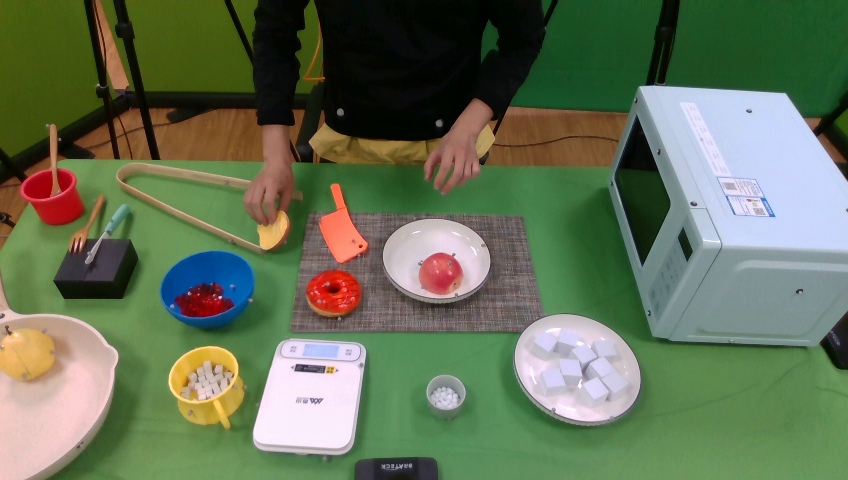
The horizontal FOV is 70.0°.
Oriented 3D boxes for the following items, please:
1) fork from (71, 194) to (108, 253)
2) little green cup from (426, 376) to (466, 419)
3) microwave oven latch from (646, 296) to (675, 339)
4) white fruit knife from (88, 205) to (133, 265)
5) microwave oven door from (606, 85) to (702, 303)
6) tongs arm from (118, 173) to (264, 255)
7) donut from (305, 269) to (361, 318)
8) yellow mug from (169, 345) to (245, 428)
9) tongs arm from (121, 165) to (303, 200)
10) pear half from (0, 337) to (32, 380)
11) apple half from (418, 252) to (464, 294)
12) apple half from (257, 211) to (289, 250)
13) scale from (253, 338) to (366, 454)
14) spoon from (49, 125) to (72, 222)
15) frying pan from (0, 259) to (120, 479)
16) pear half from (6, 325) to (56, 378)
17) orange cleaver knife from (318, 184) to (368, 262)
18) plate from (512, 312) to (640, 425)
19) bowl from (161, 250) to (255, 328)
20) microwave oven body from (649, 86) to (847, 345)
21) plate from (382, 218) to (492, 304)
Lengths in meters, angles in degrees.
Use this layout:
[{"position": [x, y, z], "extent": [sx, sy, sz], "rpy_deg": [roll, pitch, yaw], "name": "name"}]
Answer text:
[{"position": [-0.634, -0.036, 1.158], "extent": [0.028, 0.019, 0.206], "rpy_deg": [-8, 32, -8], "name": "fork"}, {"position": [0.033, 0.248, 0.950], "extent": [0.061, 0.039, 0.061], "rpy_deg": [2, 46, -2], "name": "little green cup"}, {"position": [0.412, 0.134, 1.061], "extent": [0.030, 0.029, 0.078], "rpy_deg": [4, 45, 1], "name": "microwave oven latch"}, {"position": [-0.584, -0.013, 1.129], "extent": [0.016, 0.027, 0.206], "rpy_deg": [-1, 32, -4], "name": "white fruit knife"}, {"position": [0.422, -0.094, 1.140], "extent": [0.039, 0.245, 0.353], "rpy_deg": [2, 46, -1], "name": "microwave oven door"}, {"position": [-0.474, -0.053, 1.212], "extent": [0.386, 0.028, 0.028], "rpy_deg": [23, 57, 18], "name": "tongs arm"}, {"position": [-0.160, 0.094, 1.075], "extent": [0.099, 0.048, 0.098], "rpy_deg": [3, 45, -3], "name": "donut"}, {"position": [-0.322, 0.230, 0.922], "extent": [0.100, 0.064, 0.130], "rpy_deg": [-24, 53, -25], "name": "yellow mug"}, {"position": [-0.444, -0.113, 1.268], "extent": [0.384, 0.026, 0.050], "rpy_deg": [11, 51, 8], "name": "tongs arm"}, {"position": [-0.631, 0.184, 0.921], "extent": [0.070, 0.088, 0.031], "rpy_deg": [29, 49, 19], "name": "pear half"}, {"position": [0.033, 0.055, 1.109], "extent": [0.081, 0.053, 0.074], "rpy_deg": [-29, 57, -27], "name": "apple half"}, {"position": [-0.282, -0.016, 1.160], "extent": [0.081, 0.033, 0.081], "rpy_deg": [-13, 66, 30], "name": "apple half"}, {"position": [-0.175, 0.236, 0.951], "extent": [0.149, 0.032, 0.199], "rpy_deg": [4, 45, -1], "name": "scale"}, {"position": [-0.718, -0.131, 1.189], "extent": [0.041, 0.021, 0.193], "rpy_deg": [-4, 90, -6], "name": "spoon"}, {"position": [-0.647, 0.164, 0.936], "extent": [0.307, 0.103, 0.485], "rpy_deg": [-19, 58, -22], "name": "frying pan"}, {"position": [-0.608, 0.158, 0.935], "extent": [0.076, 0.110, 0.056], "rpy_deg": [31, 51, 20], "name": "pear half"}, {"position": [-0.173, -0.037, 1.218], "extent": [0.077, 0.012, 0.210], "rpy_deg": [-16, 50, -12], "name": "orange cleaver knife"}, {"position": [0.246, 0.213, 0.999], "extent": [0.208, 0.039, 0.206], "rpy_deg": [2, 46, -2], "name": "plate"}, {"position": [-0.362, 0.098, 1.039], "extent": [0.151, 0.077, 0.150], "rpy_deg": [2, 45, -2], "name": "bowl"}, {"position": [0.567, -0.053, 1.118], "extent": [0.326, 0.261, 0.439], "rpy_deg": [2, 45, -1], "name": "microwave oven body"}, {"position": [0.023, 0.042, 1.143], "extent": [0.209, 0.038, 0.208], "rpy_deg": [2, 46, -2], "name": "plate"}]
